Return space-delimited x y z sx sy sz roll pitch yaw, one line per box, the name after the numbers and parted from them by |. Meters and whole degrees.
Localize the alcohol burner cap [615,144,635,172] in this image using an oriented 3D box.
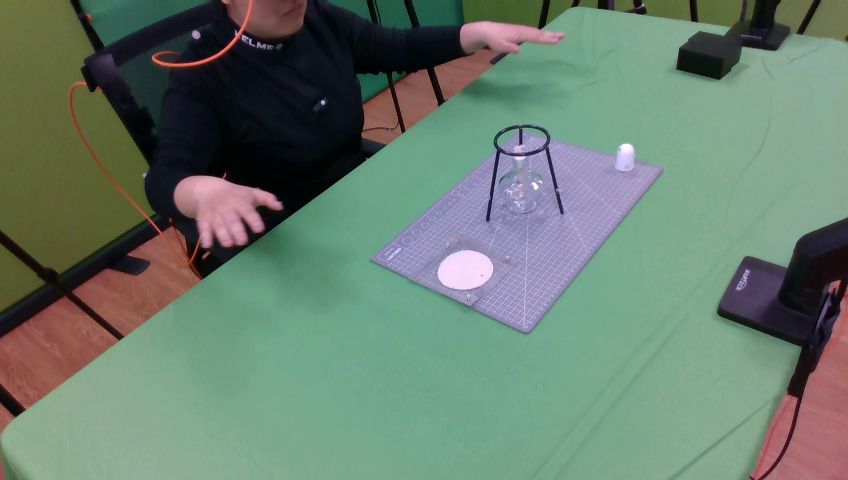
0.357 -0.147 1.069 0.034 0.048 0.033 -7 41 6 | alcohol burner cap

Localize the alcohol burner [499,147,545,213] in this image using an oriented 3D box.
0.161 -0.104 1.001 0.078 0.120 0.077 -6 42 6 | alcohol burner

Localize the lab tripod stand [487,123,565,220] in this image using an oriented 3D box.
0.162 -0.110 0.992 0.148 0.132 0.147 -5 42 5 | lab tripod stand

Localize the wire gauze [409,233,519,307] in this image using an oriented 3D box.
0.061 0.045 0.925 0.120 0.011 0.125 25 52 35 | wire gauze
